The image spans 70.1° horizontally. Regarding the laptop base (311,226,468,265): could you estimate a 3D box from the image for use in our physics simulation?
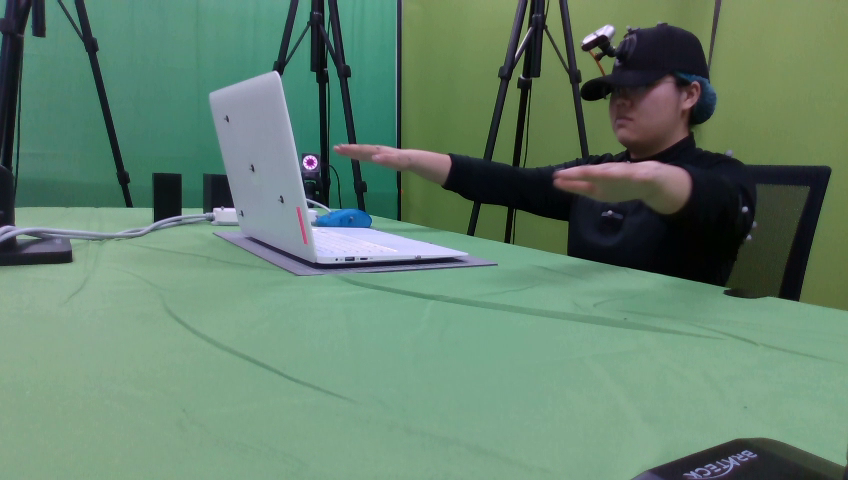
[{"bbox_3d":[-0.123,0.007,0.952,0.237,0.023,0.352,2,6,-32],"label":"laptop base"}]

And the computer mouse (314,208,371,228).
[{"bbox_3d":[-0.173,-0.046,1.284,0.118,0.041,0.062,-7,13,-29],"label":"computer mouse"}]

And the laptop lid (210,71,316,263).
[{"bbox_3d":[-0.241,-0.104,0.861,0.013,0.241,0.355,-16,17,-29],"label":"laptop lid"}]

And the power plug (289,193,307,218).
[{"bbox_3d":[-0.281,-0.076,1.341,0.035,0.052,0.072,3,6,-17],"label":"power plug"}]

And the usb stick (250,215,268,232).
[{"bbox_3d":[-0.290,-0.028,1.069,0.021,0.027,0.059,-1,11,-30],"label":"usb stick"}]

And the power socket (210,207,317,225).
[{"bbox_3d":[-0.334,-0.051,1.281,0.228,0.032,0.072,-1,8,-28],"label":"power socket"}]
